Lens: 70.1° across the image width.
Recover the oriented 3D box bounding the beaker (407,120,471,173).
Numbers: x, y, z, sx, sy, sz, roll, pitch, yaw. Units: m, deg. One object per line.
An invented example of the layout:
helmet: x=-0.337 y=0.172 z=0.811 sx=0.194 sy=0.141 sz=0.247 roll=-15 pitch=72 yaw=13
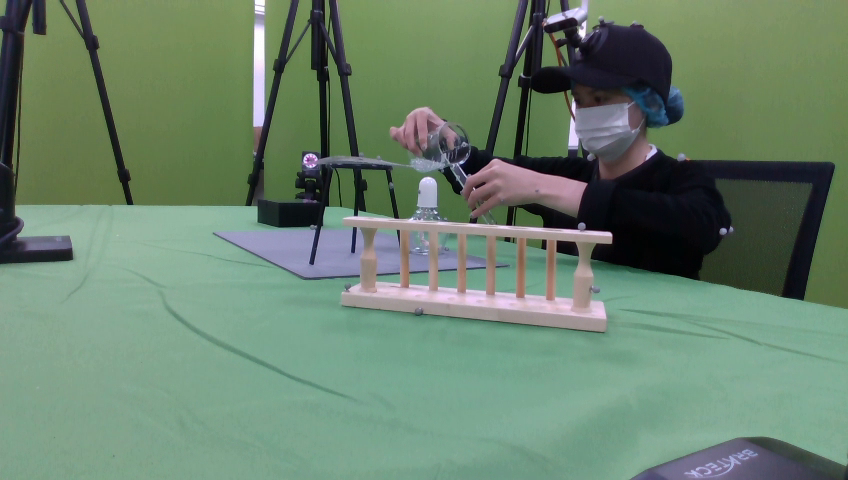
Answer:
beaker: x=0.023 y=-0.158 z=1.062 sx=0.074 sy=0.084 sz=0.100 roll=3 pitch=-7 yaw=-36

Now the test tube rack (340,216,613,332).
test tube rack: x=0.048 y=0.026 z=0.568 sx=0.242 sy=0.085 sz=0.067 roll=4 pitch=7 yaw=13

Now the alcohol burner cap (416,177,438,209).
alcohol burner cap: x=0.005 y=-0.072 z=0.914 sx=0.034 sy=0.048 sz=0.034 roll=3 pitch=9 yaw=0

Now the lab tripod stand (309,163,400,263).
lab tripod stand: x=-0.091 y=-0.037 z=0.813 sx=0.148 sy=0.131 sz=0.148 roll=1 pitch=6 yaw=0

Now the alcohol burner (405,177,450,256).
alcohol burner: x=0.004 y=-0.036 z=0.917 sx=0.078 sy=0.119 sz=0.078 roll=3 pitch=6 yaw=0

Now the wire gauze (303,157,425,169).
wire gauze: x=-0.082 y=-0.102 z=0.799 sx=0.126 sy=0.011 sz=0.121 roll=-1 pitch=7 yaw=-30

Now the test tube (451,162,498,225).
test tube: x=0.081 y=-0.074 z=0.978 sx=0.017 sy=0.017 sz=0.149 roll=-2 pitch=46 yaw=-32
